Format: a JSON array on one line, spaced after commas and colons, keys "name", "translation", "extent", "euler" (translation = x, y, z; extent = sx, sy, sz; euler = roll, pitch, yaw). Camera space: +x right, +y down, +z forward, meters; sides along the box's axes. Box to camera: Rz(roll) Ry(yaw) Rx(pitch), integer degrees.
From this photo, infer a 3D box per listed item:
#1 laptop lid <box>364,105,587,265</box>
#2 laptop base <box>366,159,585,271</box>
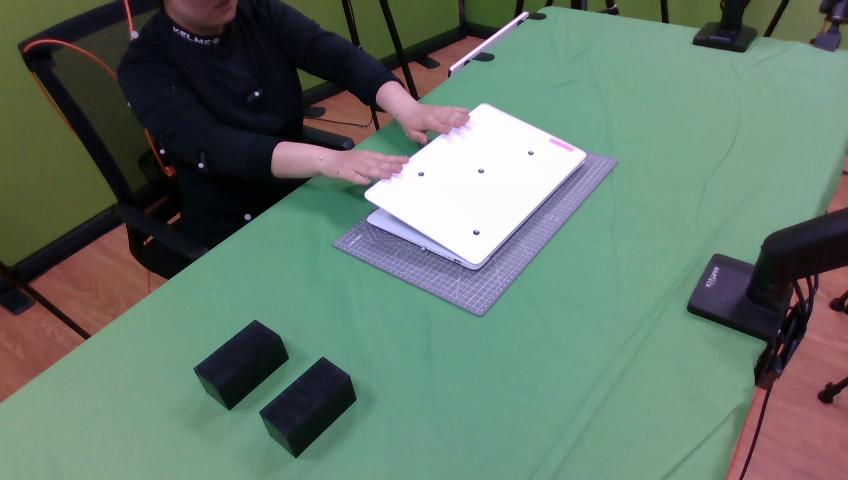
[{"name": "laptop lid", "translation": [0.097, -0.113, 1.033], "extent": [0.240, 0.013, 0.358], "euler": [33, 53, 24]}, {"name": "laptop base", "translation": [0.098, -0.085, 1.059], "extent": [0.233, 0.023, 0.355], "euler": [21, 48, 34]}]
